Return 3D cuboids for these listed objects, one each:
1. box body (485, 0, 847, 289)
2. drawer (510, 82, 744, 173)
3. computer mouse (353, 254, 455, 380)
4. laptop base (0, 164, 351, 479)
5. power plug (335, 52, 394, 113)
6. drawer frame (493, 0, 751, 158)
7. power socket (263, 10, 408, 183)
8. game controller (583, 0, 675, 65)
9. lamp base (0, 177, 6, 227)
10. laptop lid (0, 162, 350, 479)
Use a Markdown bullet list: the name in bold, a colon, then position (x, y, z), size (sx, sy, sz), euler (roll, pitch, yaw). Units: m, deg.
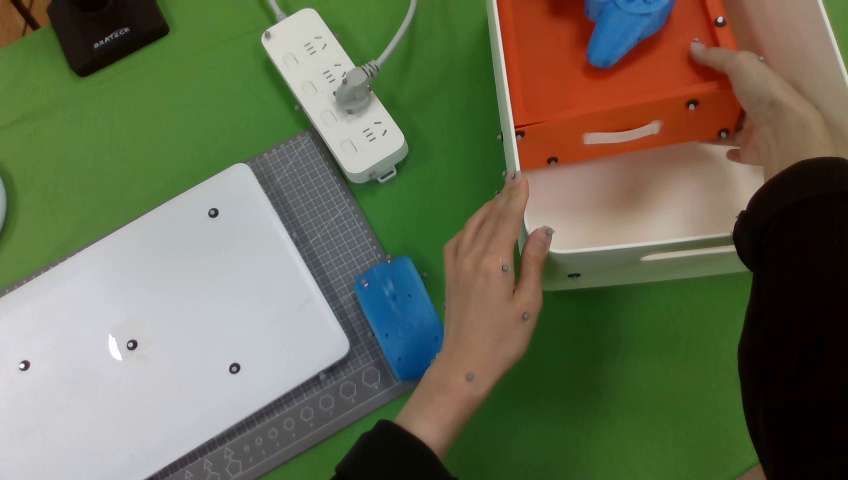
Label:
- **box body**: position (0.193, -0.147, 0.552), size (0.254, 0.161, 0.361), euler (-7, 72, 3)
- **drawer**: position (0.173, -0.180, 0.589), size (0.194, 0.074, 0.210), euler (-9, 58, 12)
- **computer mouse**: position (-0.021, 0.069, 0.567), size (0.063, 0.041, 0.116), euler (-26, 68, -2)
- **laptop base**: position (-0.274, 0.102, 0.592), size (0.354, 0.023, 0.234), euler (-31, 76, -5)
- **power plug**: position (-0.057, -0.155, 0.623), size (0.072, 0.053, 0.035), euler (-21, 70, -3)
- **drawer frame**: position (0.170, -0.187, 0.578), size (0.201, 0.083, 0.211), euler (-7, 60, 9)
- **power socket**: position (-0.097, -0.157, 0.652), size (0.072, 0.033, 0.225), euler (-32, 72, -7)
- **game controller**: position (0.155, -0.235, 0.550), size (0.097, 0.052, 0.153), euler (-29, 63, -3)
- **lamp base**: position (-0.550, -0.053, 0.583), size (0.178, 0.181, 0.160), euler (18, 74, 14)
- **laptop lid**: position (-0.274, 0.100, 0.581), size (0.357, 0.013, 0.240), euler (-30, 75, -4)
